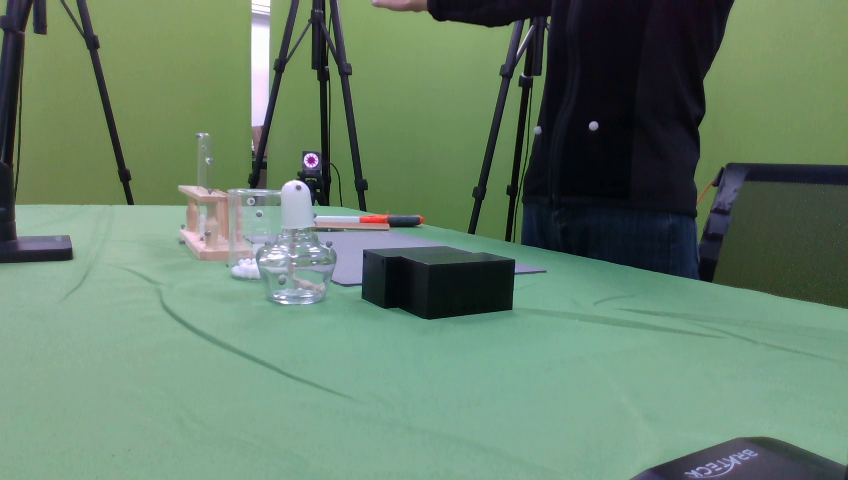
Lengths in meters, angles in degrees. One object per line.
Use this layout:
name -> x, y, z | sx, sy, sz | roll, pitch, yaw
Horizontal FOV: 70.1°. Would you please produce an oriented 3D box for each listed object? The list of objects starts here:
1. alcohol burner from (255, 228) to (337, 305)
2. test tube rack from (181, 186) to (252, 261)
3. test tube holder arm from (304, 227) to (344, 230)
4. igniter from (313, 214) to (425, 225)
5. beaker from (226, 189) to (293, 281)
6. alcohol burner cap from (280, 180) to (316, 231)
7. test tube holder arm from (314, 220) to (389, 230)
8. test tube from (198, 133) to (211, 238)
alcohol burner -> -0.124, 0.002, 0.585 | 0.078, 0.119, 0.078 | 0, 7, 0
test tube rack -> -0.312, -0.031, 0.893 | 0.067, 0.085, 0.241 | -1, 8, -27
test tube holder arm -> -0.197, -0.026, 1.163 | 0.088, 0.015, 0.010 | 0, -25, -20
igniter -> -0.129, -0.044, 1.273 | 0.278, 0.025, 0.057 | -1, -2, -26
beaker -> -0.184, -0.007, 0.694 | 0.084, 0.100, 0.073 | -1, 8, -29
alcohol burner cap -> -0.122, -0.034, 0.581 | 0.034, 0.048, 0.034 | -3, 10, 1
test tube holder arm -> -0.153, -0.028, 1.175 | 0.179, 0.015, 0.013 | 1, -25, -21
test tube -> -0.316, -0.078, 0.871 | 0.017, 0.150, 0.017 | 2, 3, 0
